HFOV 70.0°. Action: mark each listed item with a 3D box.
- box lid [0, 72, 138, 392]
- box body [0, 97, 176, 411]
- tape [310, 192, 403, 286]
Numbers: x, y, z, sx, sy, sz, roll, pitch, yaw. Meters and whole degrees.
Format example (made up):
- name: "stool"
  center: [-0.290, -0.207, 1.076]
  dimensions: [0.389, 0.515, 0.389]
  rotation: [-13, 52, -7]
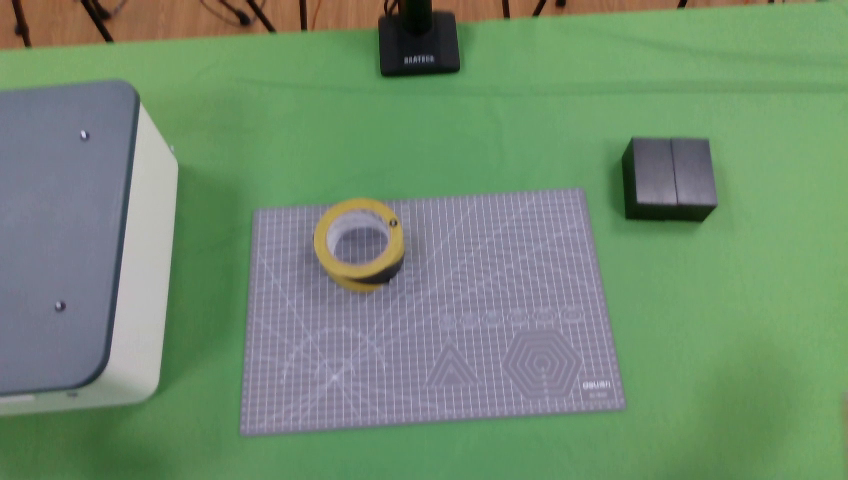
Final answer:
- name: "box lid"
  center: [-0.450, -0.022, 0.644]
  dimensions: [0.263, 0.015, 0.368]
  rotation: [-5, 68, -1]
- name: "box body"
  center: [-0.449, 0.010, 0.712]
  dimensions: [0.254, 0.161, 0.361]
  rotation: [-5, 67, -2]
- name: "tape"
  center: [-0.084, 0.000, 0.768]
  dimensions: [0.117, 0.053, 0.116]
  rotation: [0, 67, 1]
